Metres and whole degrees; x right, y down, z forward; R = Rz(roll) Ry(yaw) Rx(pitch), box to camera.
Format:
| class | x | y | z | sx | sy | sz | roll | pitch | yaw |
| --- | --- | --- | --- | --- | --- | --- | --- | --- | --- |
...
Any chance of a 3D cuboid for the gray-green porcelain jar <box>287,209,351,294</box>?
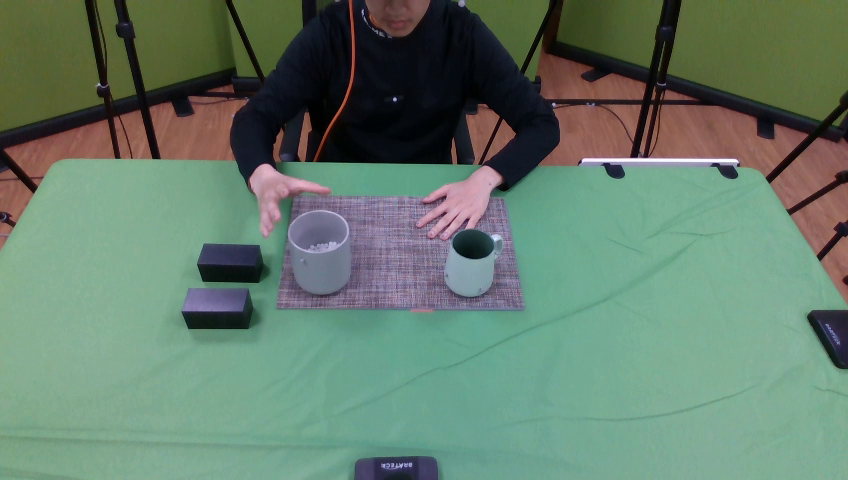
| class | x | y | z | sx | sy | sz | roll | pitch | yaw |
| --- | --- | --- | --- | --- | --- | --- | --- | --- | --- |
| gray-green porcelain jar | -0.184 | 0.026 | 1.080 | 0.106 | 0.127 | 0.105 | 2 | 47 | -2 |

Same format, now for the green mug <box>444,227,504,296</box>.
| class | x | y | z | sx | sy | sz | roll | pitch | yaw |
| --- | --- | --- | --- | --- | --- | --- | --- | --- | --- |
| green mug | 0.097 | 0.033 | 1.110 | 0.125 | 0.105 | 0.092 | -31 | 55 | -29 |
